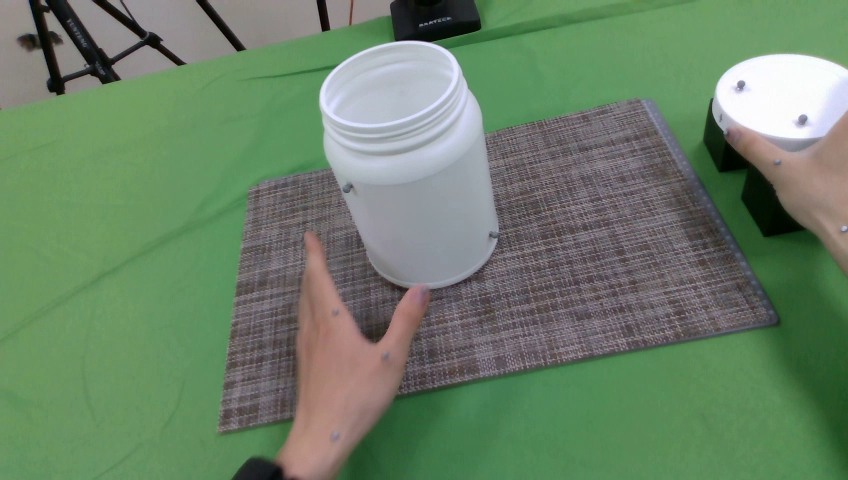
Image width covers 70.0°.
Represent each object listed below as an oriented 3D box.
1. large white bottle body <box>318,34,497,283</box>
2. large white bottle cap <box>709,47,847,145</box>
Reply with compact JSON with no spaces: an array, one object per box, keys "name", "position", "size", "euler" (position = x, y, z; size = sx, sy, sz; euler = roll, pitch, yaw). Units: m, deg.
[{"name":"large white bottle body","position":[-0.010,-0.065,0.518],"size":[0.130,0.186,0.129],"euler":[-7,49,8]},{"name":"large white bottle cap","position":[0.301,-0.122,0.505],"size":[0.115,0.018,0.113],"euler":[-7,49,8]}]
